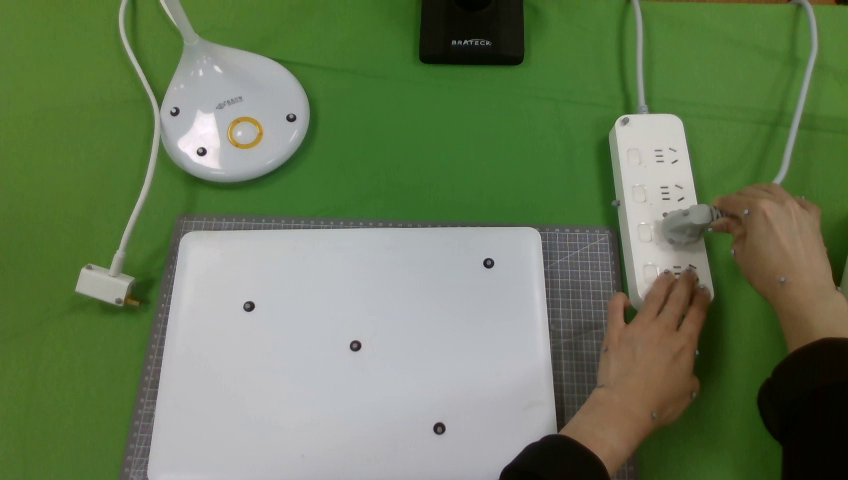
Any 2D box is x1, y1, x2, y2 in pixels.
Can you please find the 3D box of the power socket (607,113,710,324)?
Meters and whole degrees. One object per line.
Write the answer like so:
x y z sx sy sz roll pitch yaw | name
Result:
0.230 -0.030 0.605 0.072 0.033 0.225 1 67 0 | power socket

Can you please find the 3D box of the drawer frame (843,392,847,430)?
0.485 0.098 0.511 0.201 0.083 0.212 22 65 8 | drawer frame

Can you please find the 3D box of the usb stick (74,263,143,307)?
-0.298 0.045 0.580 0.059 0.021 0.027 25 97 -14 | usb stick

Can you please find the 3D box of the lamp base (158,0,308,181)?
-0.216 -0.174 0.593 0.160 0.181 0.178 -35 68 -13 | lamp base

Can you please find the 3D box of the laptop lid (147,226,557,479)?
-0.062 0.098 0.551 0.357 0.013 0.240 1 70 1 | laptop lid

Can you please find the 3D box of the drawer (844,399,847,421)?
0.489 0.093 0.509 0.194 0.074 0.211 22 73 9 | drawer

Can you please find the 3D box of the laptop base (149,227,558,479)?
-0.062 0.100 0.563 0.354 0.023 0.234 -1 71 0 | laptop base

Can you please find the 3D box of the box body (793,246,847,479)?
0.474 0.110 0.472 0.253 0.161 0.362 23 70 10 | box body

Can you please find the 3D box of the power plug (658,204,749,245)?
0.258 -0.011 0.566 0.072 0.053 0.035 8 69 13 | power plug
